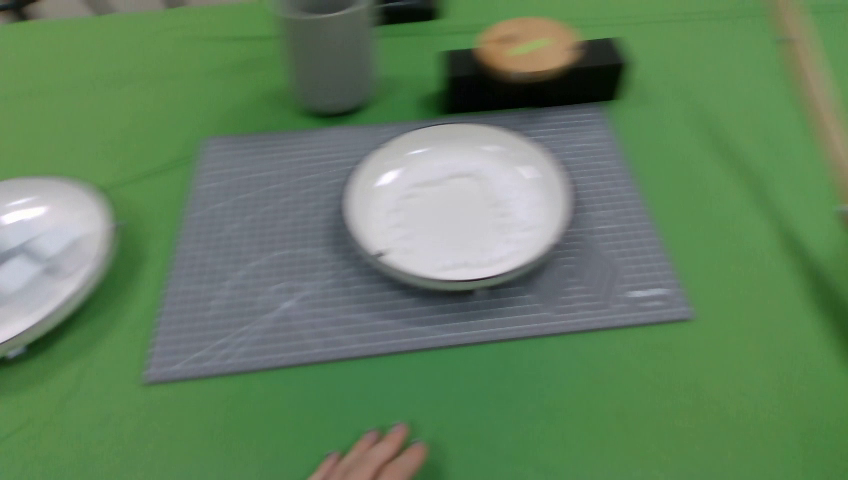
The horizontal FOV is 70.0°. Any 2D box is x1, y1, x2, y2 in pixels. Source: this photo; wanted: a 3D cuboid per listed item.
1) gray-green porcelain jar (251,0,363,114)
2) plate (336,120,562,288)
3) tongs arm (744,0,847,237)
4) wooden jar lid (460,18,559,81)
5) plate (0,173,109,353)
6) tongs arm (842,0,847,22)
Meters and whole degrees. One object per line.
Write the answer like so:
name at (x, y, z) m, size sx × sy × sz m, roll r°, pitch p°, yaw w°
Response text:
gray-green porcelain jar at (-0.125, -0.214, 0.675) m, size 0.106 × 0.127 × 0.105 m, roll -1°, pitch 49°, yaw 1°
plate at (0.023, -0.035, 0.572) m, size 0.209 × 0.038 × 0.207 m, roll -1°, pitch 49°, yaw 1°
tongs arm at (0.362, -0.093, 0.546) m, size 0.028 × 0.028 × 0.384 m, roll 0°, pitch 64°, yaw -16°
wooden jar lid at (0.094, -0.210, 0.671) m, size 0.108 × 0.021 × 0.107 m, roll 0°, pitch 51°, yaw 0°
plate at (-0.383, 0.024, 0.534) m, size 0.208 × 0.039 × 0.205 m, roll 0°, pitch 49°, yaw 1°
tongs arm at (0.427, -0.089, 0.556) m, size 0.051 × 0.026 × 0.381 m, roll 6°, pitch 63°, yaw -10°
